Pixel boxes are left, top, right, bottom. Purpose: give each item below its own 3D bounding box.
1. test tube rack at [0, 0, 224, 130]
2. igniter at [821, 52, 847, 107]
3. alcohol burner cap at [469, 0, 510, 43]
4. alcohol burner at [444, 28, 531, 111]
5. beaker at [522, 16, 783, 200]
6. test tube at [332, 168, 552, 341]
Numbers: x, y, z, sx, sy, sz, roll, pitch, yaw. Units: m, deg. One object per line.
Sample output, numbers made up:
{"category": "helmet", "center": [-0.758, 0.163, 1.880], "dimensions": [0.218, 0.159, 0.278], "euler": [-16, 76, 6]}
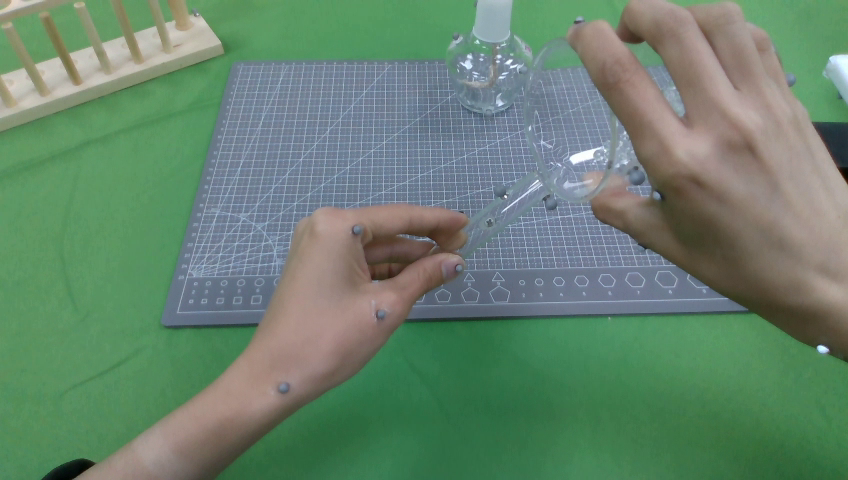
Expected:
{"category": "test tube rack", "center": [-0.320, -0.184, 0.553], "dimensions": [0.242, 0.086, 0.066], "euler": [-27, 57, -20]}
{"category": "igniter", "center": [0.347, -0.048, 0.428], "dimensions": [0.057, 0.025, 0.274], "euler": [0, 50, 5]}
{"category": "alcohol burner cap", "center": [0.056, -0.192, 0.500], "dimensions": [0.034, 0.048, 0.033], "euler": [2, 51, -2]}
{"category": "alcohol burner", "center": [0.057, -0.172, 0.524], "dimensions": [0.078, 0.120, 0.077], "euler": [1, 53, -1]}
{"category": "beaker", "center": [0.108, -0.064, 0.290], "dimensions": [0.100, 0.084, 0.073], "euler": [-14, 62, -16]}
{"category": "test tube", "center": [0.005, 0.012, 0.330], "dimensions": [0.150, 0.017, 0.017], "euler": [-38, 52, 18]}
